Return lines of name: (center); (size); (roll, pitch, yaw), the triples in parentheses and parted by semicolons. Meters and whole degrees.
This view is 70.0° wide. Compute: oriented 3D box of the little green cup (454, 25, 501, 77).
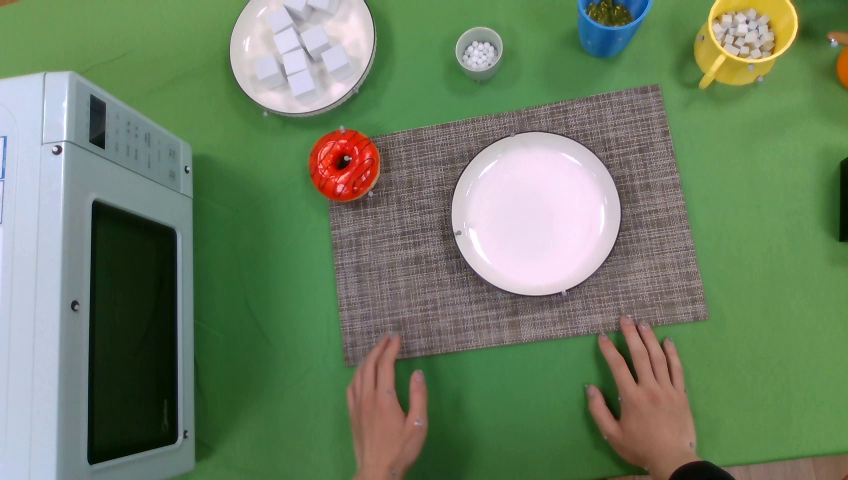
little green cup: (0.072, -0.247, 0.799); (0.061, 0.039, 0.061); (-2, 80, 9)

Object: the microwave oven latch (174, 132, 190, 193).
microwave oven latch: (-0.335, -0.104, 0.821); (0.030, 0.029, 0.079); (-4, 81, 8)

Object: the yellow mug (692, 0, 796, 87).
yellow mug: (0.376, -0.240, 0.737); (0.099, 0.064, 0.131); (40, 90, 13)

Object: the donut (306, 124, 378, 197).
donut: (-0.108, -0.104, 0.797); (0.099, 0.048, 0.098); (-1, 82, 10)

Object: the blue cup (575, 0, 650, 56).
blue cup: (0.226, -0.277, 0.749); (0.092, 0.100, 0.092); (-1, 82, 8)

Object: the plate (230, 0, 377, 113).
plate: (-0.163, -0.271, 0.840); (0.207, 0.039, 0.207); (-1, 81, 9)

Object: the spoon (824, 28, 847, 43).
spoon: (0.492, -0.216, 0.673); (0.021, 0.195, 0.041); (-23, 72, 50)

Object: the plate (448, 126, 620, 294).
plate: (0.135, -0.036, 0.752); (0.209, 0.038, 0.208); (-1, 81, 9)

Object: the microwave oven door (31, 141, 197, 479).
microwave oven door: (-0.337, 0.094, 0.685); (0.039, 0.245, 0.354); (-6, 80, 8)

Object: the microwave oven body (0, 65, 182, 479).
microwave oven body: (-0.483, 0.068, 0.717); (0.326, 0.261, 0.440); (-6, 81, 7)
